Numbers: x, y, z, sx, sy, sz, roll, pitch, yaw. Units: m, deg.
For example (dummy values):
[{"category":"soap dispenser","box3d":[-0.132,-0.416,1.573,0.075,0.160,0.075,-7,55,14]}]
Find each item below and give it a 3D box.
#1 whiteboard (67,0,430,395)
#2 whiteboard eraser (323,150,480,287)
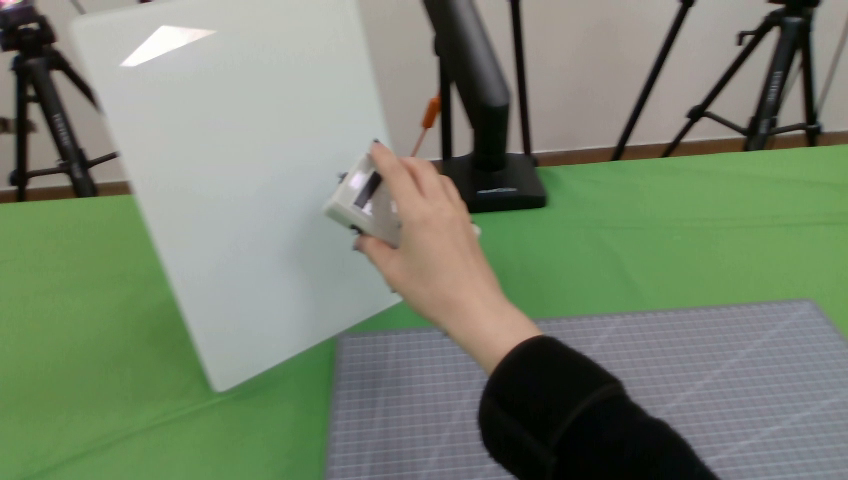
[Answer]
[{"category":"whiteboard","box3d":[-0.152,-0.061,0.558,0.217,0.307,0.142,-25,23,-27]},{"category":"whiteboard eraser","box3d":[-0.016,-0.015,0.462,0.113,0.042,0.055,34,70,-11]}]
